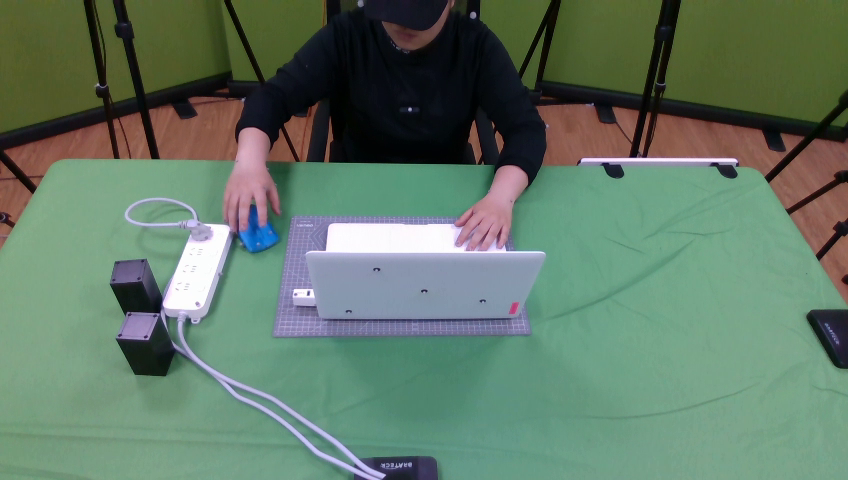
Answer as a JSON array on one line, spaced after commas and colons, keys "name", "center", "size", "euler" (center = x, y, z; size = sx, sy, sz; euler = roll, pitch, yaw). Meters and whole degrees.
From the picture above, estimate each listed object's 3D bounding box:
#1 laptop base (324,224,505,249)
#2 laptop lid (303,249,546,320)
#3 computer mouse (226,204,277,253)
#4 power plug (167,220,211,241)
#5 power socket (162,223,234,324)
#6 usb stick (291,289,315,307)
[{"name": "laptop base", "center": [-0.014, 0.055, 1.144], "size": [0.355, 0.023, 0.234], "euler": [0, 42, -4]}, {"name": "laptop lid", "center": [-0.002, 0.077, 0.962], "size": [0.357, 0.242, 0.013], "euler": [1, 58, -5]}, {"name": "computer mouse", "center": [-0.339, -0.026, 1.186], "size": [0.063, 0.041, 0.116], "euler": [-25, 58, -28]}, {"name": "power plug", "center": [-0.438, -0.017, 1.143], "size": [0.072, 0.053, 0.035], "euler": [9, 43, 6]}, {"name": "power socket", "center": [-0.409, 0.051, 1.106], "size": [0.072, 0.033, 0.225], "euler": [5, 46, -1]}, {"name": "usb stick", "center": [-0.203, 0.102, 1.066], "size": [0.059, 0.027, 0.021], "euler": [4, 45, -5]}]
